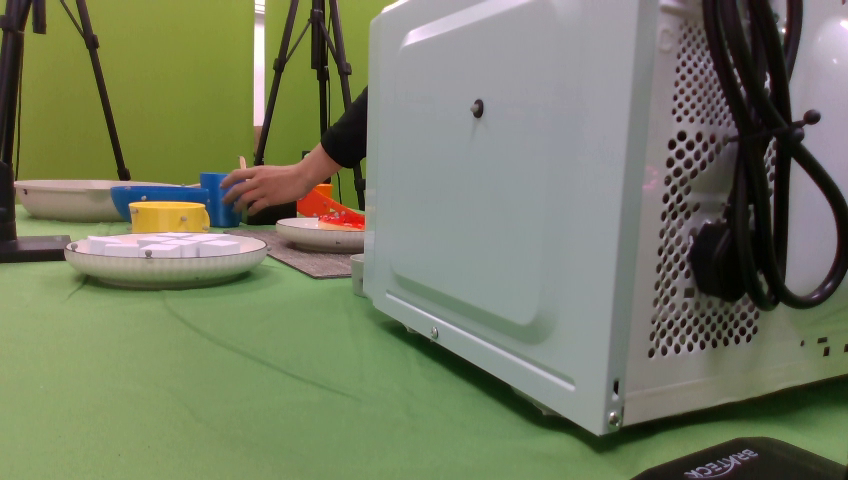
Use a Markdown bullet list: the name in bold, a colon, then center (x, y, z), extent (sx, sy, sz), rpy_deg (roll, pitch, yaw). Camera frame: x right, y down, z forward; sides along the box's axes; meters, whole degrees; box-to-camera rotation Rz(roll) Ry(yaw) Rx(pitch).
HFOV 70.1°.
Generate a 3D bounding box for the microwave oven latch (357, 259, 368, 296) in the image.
- **microwave oven latch**: center (-0.019, 0.031, 0.528), extent (0.079, 0.029, 0.030), rpy_deg (-1, 7, -25)

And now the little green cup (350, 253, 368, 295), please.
- **little green cup**: center (-0.048, 0.035, 0.632), extent (0.061, 0.038, 0.061), rpy_deg (3, 6, 0)

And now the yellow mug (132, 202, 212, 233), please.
- **yellow mug**: center (-0.356, -0.020, 0.878), extent (0.099, 0.064, 0.131), rpy_deg (5, 7, 22)

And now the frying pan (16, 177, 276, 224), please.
- **frying pan**: center (-0.554, -0.097, 1.266), extent (0.490, 0.102, 0.305), rpy_deg (-10, 13, -24)

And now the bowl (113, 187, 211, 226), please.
- **bowl**: center (-0.436, -0.046, 1.013), extent (0.151, 0.077, 0.151), rpy_deg (2, 7, 0)

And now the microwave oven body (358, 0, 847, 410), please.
- **microwave oven body**: center (0.210, -0.051, 0.471), extent (0.444, 0.260, 0.324), rpy_deg (-1, 7, -28)

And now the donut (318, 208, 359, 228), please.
- **donut**: center (-0.118, -0.024, 0.954), extent (0.099, 0.048, 0.099), rpy_deg (6, 7, 0)

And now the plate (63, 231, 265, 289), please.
- **plate**: center (-0.288, 0.021, 0.687), extent (0.208, 0.039, 0.207), rpy_deg (2, 8, 0)

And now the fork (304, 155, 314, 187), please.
- **fork**: center (-0.268, -0.134, 1.446), extent (0.028, 0.018, 0.207), rpy_deg (2, -36, -1)

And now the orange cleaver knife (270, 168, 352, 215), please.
- **orange cleaver knife**: center (-0.237, -0.084, 1.332), extent (0.212, 0.077, 0.012), rpy_deg (31, -9, -31)

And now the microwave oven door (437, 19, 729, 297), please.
- **microwave oven door**: center (0.180, -0.076, 0.618), extent (0.358, 0.243, 0.039), rpy_deg (-2, 8, -28)

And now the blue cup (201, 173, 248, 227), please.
- **blue cup**: center (-0.384, -0.077, 1.164), extent (0.093, 0.100, 0.092), rpy_deg (2, 5, 0)

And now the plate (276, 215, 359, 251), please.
- **plate**: center (-0.125, -0.012, 0.950), extent (0.209, 0.038, 0.209), rpy_deg (2, 7, 0)

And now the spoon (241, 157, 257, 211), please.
- **spoon**: center (-0.432, -0.140, 1.472), extent (0.042, 0.021, 0.193), rpy_deg (-2, 52, -19)
